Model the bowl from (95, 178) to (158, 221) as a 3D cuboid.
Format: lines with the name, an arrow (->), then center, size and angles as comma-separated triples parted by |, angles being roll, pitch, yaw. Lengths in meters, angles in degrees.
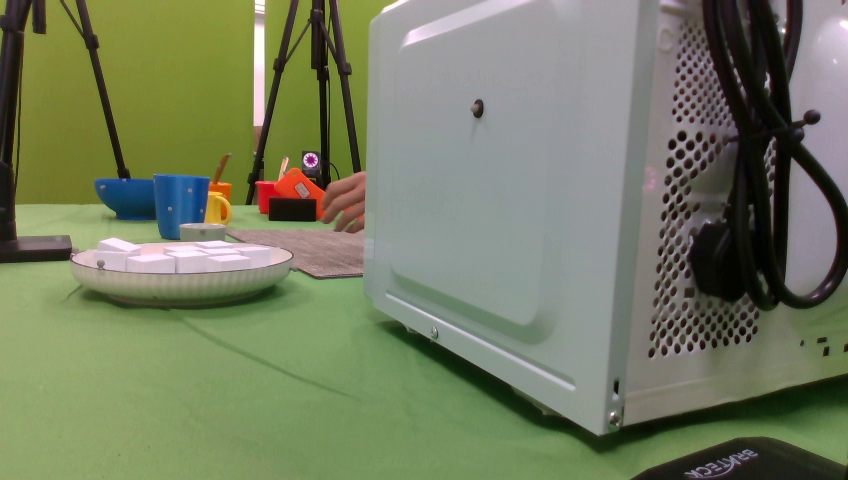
bowl -> -0.576, -0.081, 1.217 | 0.151, 0.077, 0.151 | 3, 8, 0

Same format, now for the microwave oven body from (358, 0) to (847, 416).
microwave oven body -> 0.211, -0.047, 0.474 | 0.444, 0.260, 0.324 | -1, 7, -28

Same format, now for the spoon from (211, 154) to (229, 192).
spoon -> -0.431, -0.115, 1.253 | 0.042, 0.193, 0.021 | -3, 54, -33

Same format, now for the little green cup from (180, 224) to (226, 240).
little green cup -> -0.308, -0.001, 0.846 | 0.061, 0.038, 0.061 | 2, 8, 0

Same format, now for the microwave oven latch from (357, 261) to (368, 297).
microwave oven latch -> -0.019, 0.033, 0.531 | 0.079, 0.029, 0.030 | -1, 7, -27

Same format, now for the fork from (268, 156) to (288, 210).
fork -> -0.360, -0.144, 1.508 | 0.028, 0.018, 0.207 | 2, 49, 0

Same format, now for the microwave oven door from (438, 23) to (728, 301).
microwave oven door -> 0.181, -0.072, 0.620 | 0.358, 0.243, 0.039 | -2, 8, -29

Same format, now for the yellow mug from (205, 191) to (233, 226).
yellow mug -> -0.415, -0.057, 1.131 | 0.130, 0.064, 0.100 | 6, 8, 16

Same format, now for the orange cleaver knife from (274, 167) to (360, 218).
orange cleaver knife -> -0.238, -0.091, 1.381 | 0.212, 0.077, 0.012 | 31, 0, -19

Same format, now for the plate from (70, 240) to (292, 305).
plate -> -0.242, 0.031, 0.618 | 0.208, 0.039, 0.207 | 2, 8, 0

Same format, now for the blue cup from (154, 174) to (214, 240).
blue cup -> -0.390, -0.053, 0.978 | 0.093, 0.100, 0.092 | 3, 6, 0
